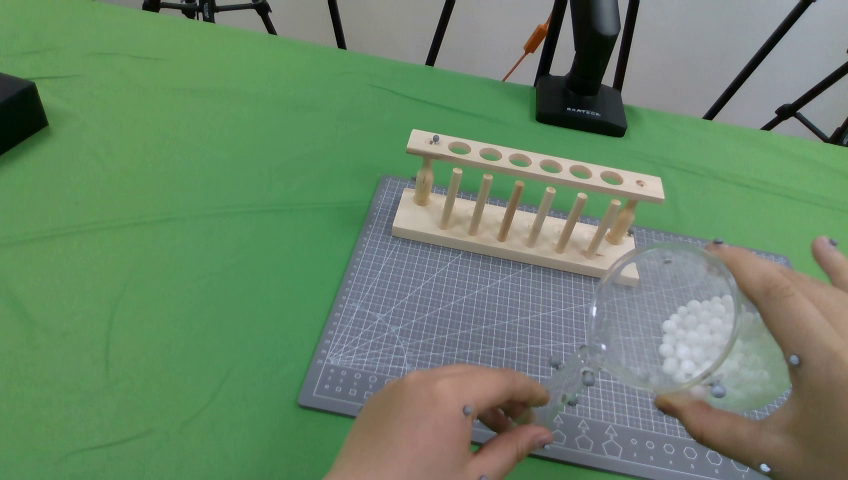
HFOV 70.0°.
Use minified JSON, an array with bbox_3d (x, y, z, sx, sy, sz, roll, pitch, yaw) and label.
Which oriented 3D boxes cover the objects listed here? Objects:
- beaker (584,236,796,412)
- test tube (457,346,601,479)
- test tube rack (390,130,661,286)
[{"bbox_3d":[0.143,0.052,0.321,0.101,0.084,0.073,24,39,-40],"label":"beaker"},{"bbox_3d":[0.056,0.111,0.356,0.017,0.151,0.017,18,39,-15],"label":"test tube"},{"bbox_3d":[0.095,-0.031,0.586,0.242,0.086,0.066,12,42,1],"label":"test tube rack"}]
